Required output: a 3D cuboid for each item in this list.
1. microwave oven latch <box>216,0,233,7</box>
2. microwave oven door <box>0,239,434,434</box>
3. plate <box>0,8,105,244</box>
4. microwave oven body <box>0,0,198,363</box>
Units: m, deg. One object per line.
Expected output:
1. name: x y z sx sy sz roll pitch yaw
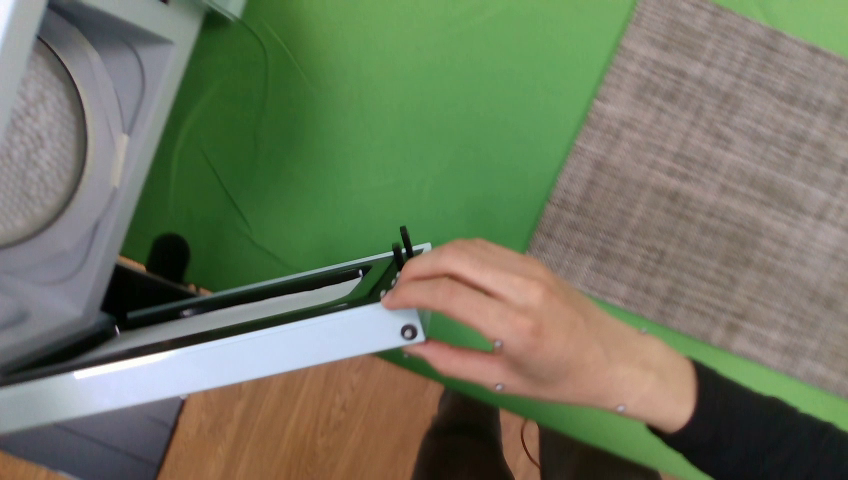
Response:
1. microwave oven latch: -0.177 -0.257 0.551 0.030 0.029 0.079 24 99 -2
2. microwave oven door: -0.171 0.071 0.494 0.356 0.243 0.039 -13 97 4
3. plate: -0.386 -0.101 0.541 0.209 0.038 0.209 0 100 -1
4. microwave oven body: -0.387 -0.141 0.477 0.326 0.259 0.442 23 99 -2
